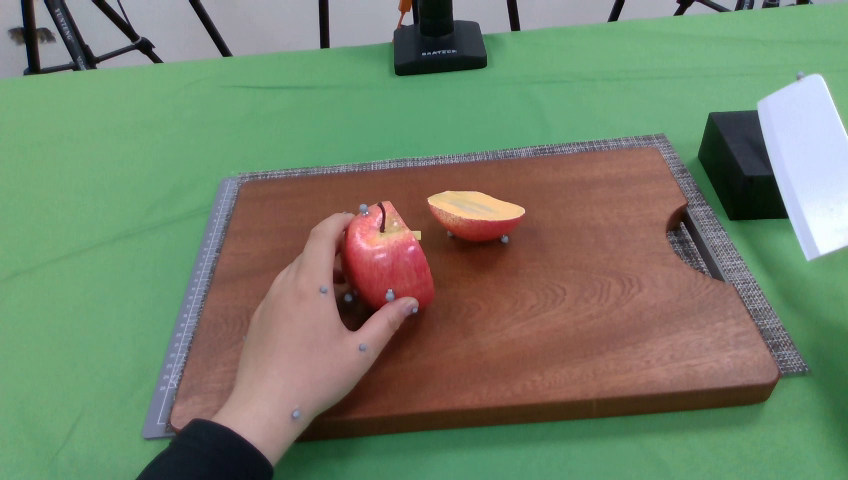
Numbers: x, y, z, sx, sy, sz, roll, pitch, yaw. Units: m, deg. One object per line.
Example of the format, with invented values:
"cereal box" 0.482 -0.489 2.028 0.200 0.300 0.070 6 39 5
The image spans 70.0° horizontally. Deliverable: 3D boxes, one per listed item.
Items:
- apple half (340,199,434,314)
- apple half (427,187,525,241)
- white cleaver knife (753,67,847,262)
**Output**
"apple half" -0.032 0.018 0.438 0.053 0.075 0.080 -25 50 -12
"apple half" 0.038 -0.016 0.490 0.081 0.033 0.081 7 22 -2
"white cleaver knife" 0.308 -0.017 0.448 0.022 0.066 0.284 22 52 -27
